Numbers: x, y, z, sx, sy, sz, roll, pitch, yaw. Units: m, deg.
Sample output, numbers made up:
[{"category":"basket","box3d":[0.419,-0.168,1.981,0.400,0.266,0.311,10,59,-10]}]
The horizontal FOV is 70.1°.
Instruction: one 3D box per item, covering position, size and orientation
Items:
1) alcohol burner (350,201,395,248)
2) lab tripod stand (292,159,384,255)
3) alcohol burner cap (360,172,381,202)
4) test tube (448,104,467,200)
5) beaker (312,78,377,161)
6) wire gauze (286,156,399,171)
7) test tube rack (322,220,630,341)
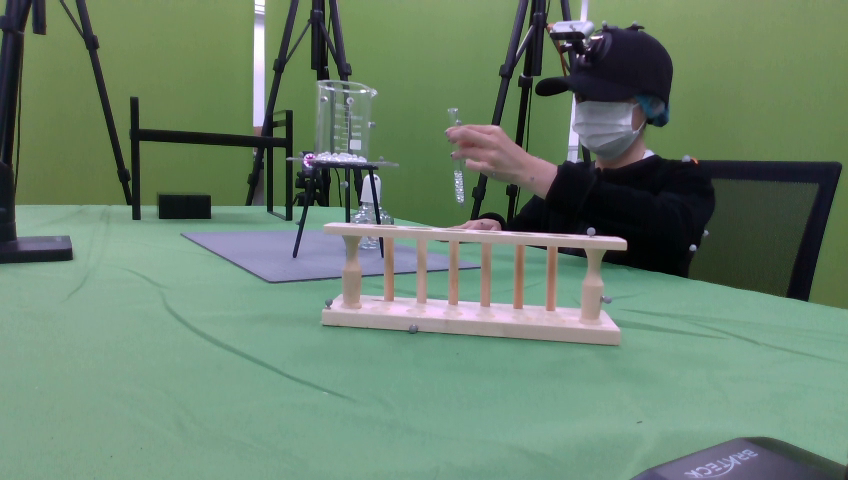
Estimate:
[{"category":"alcohol burner","box3d":[-0.084,-0.048,0.953,0.078,0.119,0.078,1,6,0]},{"category":"lab tripod stand","box3d":[-0.105,-0.039,0.797,0.148,0.131,0.148,2,5,0]},{"category":"alcohol burner cap","box3d":[-0.081,-0.084,0.949,0.034,0.048,0.034,7,7,-1]},{"category":"test tube","box3d":[0.052,-0.133,0.925,0.017,0.150,0.017,-6,22,3]},{"category":"beaker","box3d":[-0.103,-0.151,0.775,0.084,0.100,0.074,5,7,14]},{"category":"wire gauze","box3d":[-0.101,-0.103,0.788,0.121,0.011,0.125,5,4,6]},{"category":"test tube rack","box3d":[0.041,0.029,0.512,0.242,0.085,0.067,3,7,5]}]
